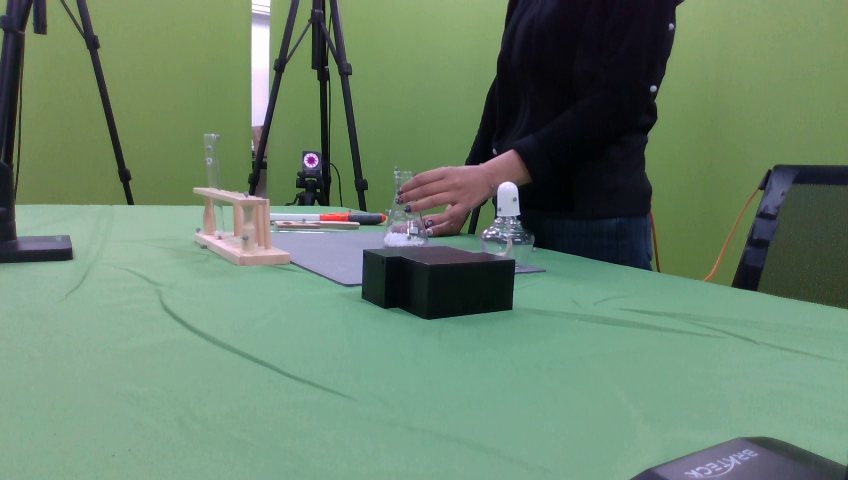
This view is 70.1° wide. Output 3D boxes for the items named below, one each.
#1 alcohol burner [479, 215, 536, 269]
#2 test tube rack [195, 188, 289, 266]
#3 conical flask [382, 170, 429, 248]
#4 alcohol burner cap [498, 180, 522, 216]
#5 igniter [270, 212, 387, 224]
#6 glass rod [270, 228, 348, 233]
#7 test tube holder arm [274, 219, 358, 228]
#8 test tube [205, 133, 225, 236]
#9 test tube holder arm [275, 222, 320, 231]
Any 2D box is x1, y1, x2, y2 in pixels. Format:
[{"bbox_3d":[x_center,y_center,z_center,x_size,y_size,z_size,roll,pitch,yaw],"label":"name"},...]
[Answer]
[{"bbox_3d":[0.114,-0.021,0.816,0.078,0.119,0.078,2,9,0],"label":"alcohol burner"},{"bbox_3d":[-0.266,-0.025,0.864,0.067,0.085,0.241,-2,9,-33],"label":"test tube rack"},{"bbox_3d":[-0.029,-0.050,0.958,0.075,0.122,0.075,1,6,0],"label":"conical flask"},{"bbox_3d":[0.114,-0.056,0.810,0.034,0.048,0.034,-5,12,1],"label":"alcohol burner cap"},{"bbox_3d":[-0.213,-0.048,1.278,0.278,0.025,0.057,-1,-2,-25],"label":"igniter"},{"bbox_3d":[-0.234,-0.017,1.105,0.201,0.008,0.008,1,7,-26],"label":"glass rod"},{"bbox_3d":[-0.206,-0.032,1.177,0.179,0.015,0.013,-4,46,-39],"label":"test tube holder arm"},{"bbox_3d":[-0.305,-0.079,0.883,0.017,0.150,0.017,-2,11,1],"label":"test tube"},{"bbox_3d":[-0.238,-0.026,1.145,0.088,0.015,0.010,-3,46,-39],"label":"test tube holder arm"}]
